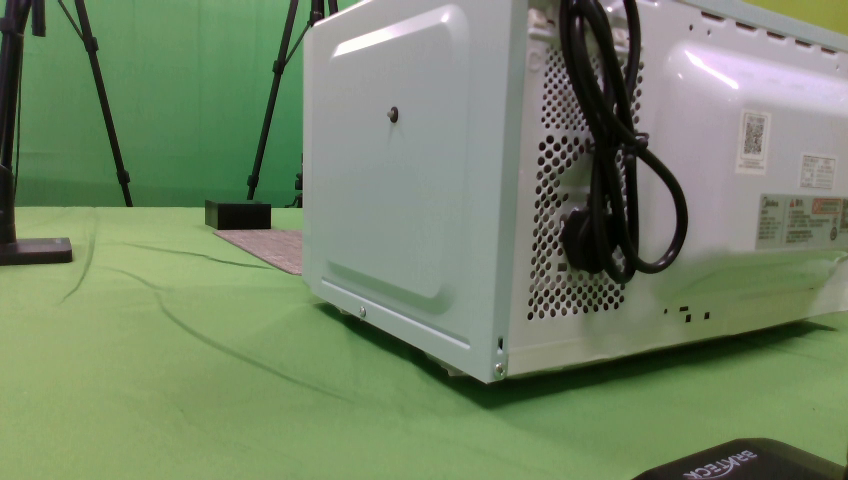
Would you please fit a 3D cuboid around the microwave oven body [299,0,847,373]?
[{"bbox_3d":[0.151,-0.055,0.542,0.444,0.260,0.324,-2,7,-33],"label":"microwave oven body"}]

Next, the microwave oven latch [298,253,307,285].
[{"bbox_3d":[-0.081,0.027,0.582,0.079,0.029,0.030,-1,7,-32],"label":"microwave oven latch"}]

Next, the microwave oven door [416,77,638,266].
[{"bbox_3d":[0.131,-0.105,0.891,0.354,0.243,0.039,9,10,42],"label":"microwave oven door"}]
